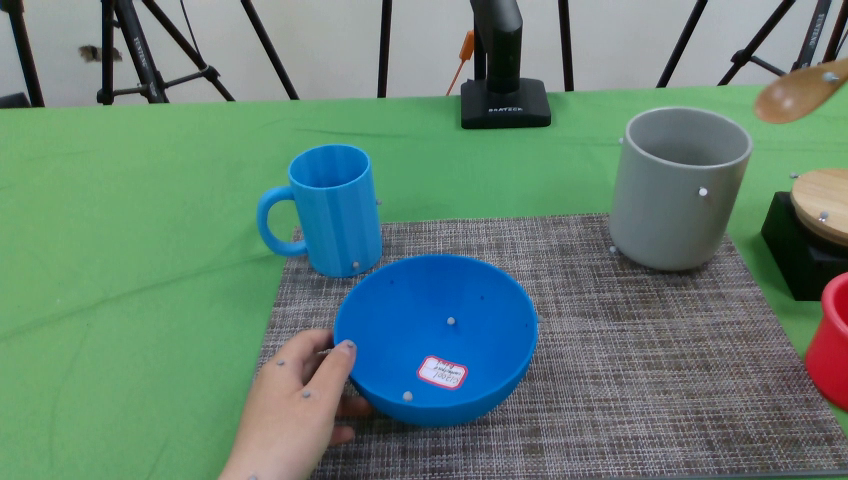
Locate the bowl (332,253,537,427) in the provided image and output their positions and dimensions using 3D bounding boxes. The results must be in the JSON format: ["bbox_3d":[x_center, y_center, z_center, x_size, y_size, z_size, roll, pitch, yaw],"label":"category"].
[{"bbox_3d":[0.009,0.088,0.466,0.151,0.077,0.150,-2,40,2],"label":"bowl"}]

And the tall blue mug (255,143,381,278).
[{"bbox_3d":[-0.096,-0.020,0.578,0.107,0.109,0.077,-34,49,-30],"label":"tall blue mug"}]

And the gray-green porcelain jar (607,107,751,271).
[{"bbox_3d":[0.230,-0.043,0.566,0.106,0.127,0.105,-2,41,2],"label":"gray-green porcelain jar"}]

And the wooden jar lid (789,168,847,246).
[{"bbox_3d":[0.388,-0.028,0.547,0.108,0.021,0.107,-3,40,3],"label":"wooden jar lid"}]

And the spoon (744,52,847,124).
[{"bbox_3d":[0.290,-0.123,0.378,0.022,0.193,0.041,14,70,-19],"label":"spoon"}]
